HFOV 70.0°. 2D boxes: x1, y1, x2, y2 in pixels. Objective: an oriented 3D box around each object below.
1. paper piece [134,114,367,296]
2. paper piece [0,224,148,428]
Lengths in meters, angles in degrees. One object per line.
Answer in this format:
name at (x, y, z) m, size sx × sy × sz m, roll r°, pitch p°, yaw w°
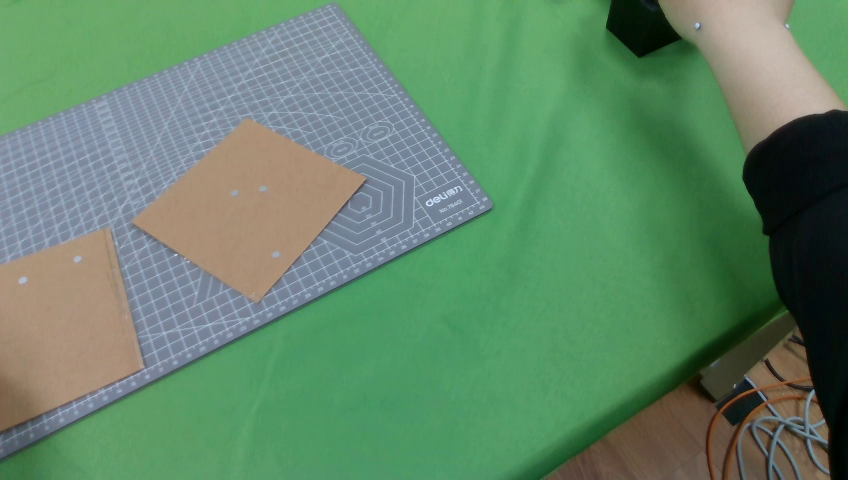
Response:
paper piece at (-0.139, -0.036, 0.488) m, size 0.135 × 0.004 × 0.135 m, roll 29°, pitch 64°, yaw 19°
paper piece at (-0.281, 0.061, 0.437) m, size 0.138 × 0.009 × 0.134 m, roll -23°, pitch 57°, yaw -12°
